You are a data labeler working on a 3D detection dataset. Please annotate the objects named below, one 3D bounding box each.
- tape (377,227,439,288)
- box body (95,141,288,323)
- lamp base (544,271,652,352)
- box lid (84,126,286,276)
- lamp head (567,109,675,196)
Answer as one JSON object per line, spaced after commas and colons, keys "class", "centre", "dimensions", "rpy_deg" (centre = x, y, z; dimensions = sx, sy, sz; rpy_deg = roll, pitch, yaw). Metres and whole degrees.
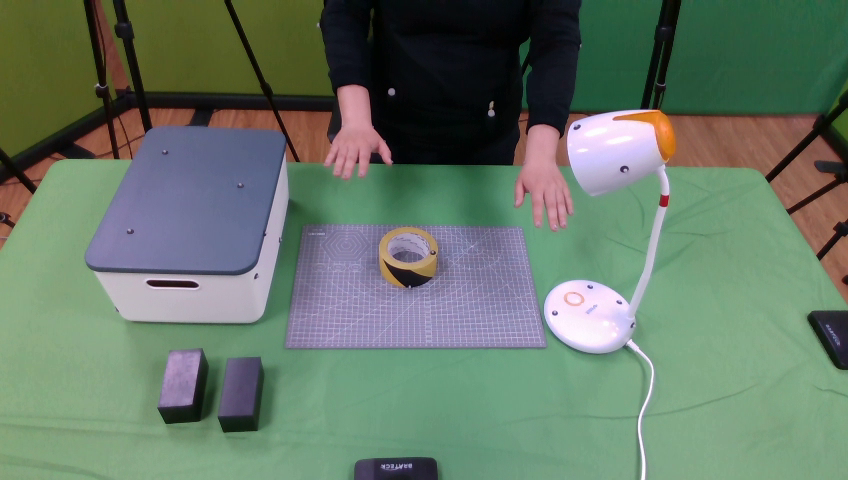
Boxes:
{"class": "tape", "centre": [-0.031, 0.032, 1.140], "dimensions": [0.117, 0.053, 0.116], "rpy_deg": [2, 46, -2]}
{"class": "box body", "centre": [-0.396, -0.031, 1.100], "dimensions": [0.254, 0.161, 0.361], "rpy_deg": [1, 46, -3]}
{"class": "lamp base", "centre": [0.310, 0.086, 1.029], "dimensions": [0.178, 0.181, 0.160], "rpy_deg": [32, 52, 21]}
{"class": "box lid", "centre": [-0.393, -0.081, 1.046], "dimensions": [0.263, 0.015, 0.369], "rpy_deg": [2, 46, -3]}
{"class": "lamp head", "centre": [0.272, -0.123, 0.818], "dimensions": [0.122, 0.113, 0.112], "rpy_deg": [-9, 35, 37]}
